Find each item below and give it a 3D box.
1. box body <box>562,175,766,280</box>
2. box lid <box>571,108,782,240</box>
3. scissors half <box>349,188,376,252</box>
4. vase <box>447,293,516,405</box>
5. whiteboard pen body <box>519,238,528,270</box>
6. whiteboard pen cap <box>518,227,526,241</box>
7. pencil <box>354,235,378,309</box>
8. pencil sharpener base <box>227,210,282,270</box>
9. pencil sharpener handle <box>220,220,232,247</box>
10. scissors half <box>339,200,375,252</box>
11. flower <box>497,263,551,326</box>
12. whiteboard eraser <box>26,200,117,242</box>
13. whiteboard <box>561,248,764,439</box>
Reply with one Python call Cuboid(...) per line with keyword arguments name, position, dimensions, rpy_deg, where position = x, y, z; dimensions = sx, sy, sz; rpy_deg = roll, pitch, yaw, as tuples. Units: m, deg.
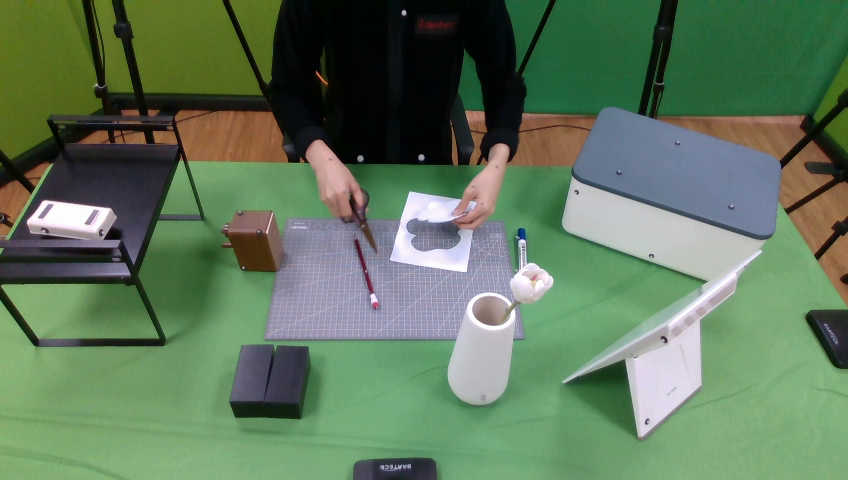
Cuboid(name="box body", position=(0.486, -0.088, 1.222), dimensions=(0.363, 0.161, 0.253), rpy_deg=(20, 48, 15))
Cuboid(name="box lid", position=(0.491, -0.139, 1.168), dimensions=(0.370, 0.015, 0.262), rpy_deg=(21, 49, 15))
Cuboid(name="scissors half", position=(-0.108, -0.038, 1.107), dimensions=(0.013, 0.040, 0.174), rpy_deg=(26, 30, -38))
Cuboid(name="vase", position=(0.091, 0.169, 0.921), dimensions=(0.098, 0.201, 0.097), rpy_deg=(3, 47, -3))
Cuboid(name="whiteboard pen body", position=(0.193, 0.035, 1.180), dimensions=(0.017, 0.017, 0.140), rpy_deg=(6, 48, 1))
Cuboid(name="whiteboard pen cap", position=(0.197, -0.009, 1.220), dimensions=(0.018, 0.018, 0.033), rpy_deg=(6, 52, 1))
Cuboid(name="pencil", position=(-0.113, 0.055, 1.142), dimensions=(0.012, 0.012, 0.192), rpy_deg=(-10, 46, -13))
Cuboid(name="pencil sharpener base", position=(-0.311, 0.001, 1.112), dimensions=(0.077, 0.107, 0.061), rpy_deg=(1, 47, 1))
Cuboid(name="pencil sharpener handle", position=(-0.362, -0.009, 1.105), dimensions=(0.030, 0.068, 0.036), rpy_deg=(1, 52, 1))
Cuboid(name="scissors half", position=(-0.122, -0.024, 1.112), dimensions=(0.040, 0.013, 0.174), rpy_deg=(-51, 40, 7))
Cuboid(name="flower", position=(0.102, 0.121, 0.852), dimensions=(0.044, 0.363, 0.038), rpy_deg=(-1, 64, -10))
Cuboid(name="whiteboard eraser", position=(-0.532, -0.026, 0.919), dimensions=(0.113, 0.042, 0.055), rpy_deg=(7, 45, 3))
Cuboid(name="whiteboard", position=(0.386, 0.176, 0.905), dimensions=(0.217, 0.306, 0.143), rpy_deg=(-26, 72, -27))
